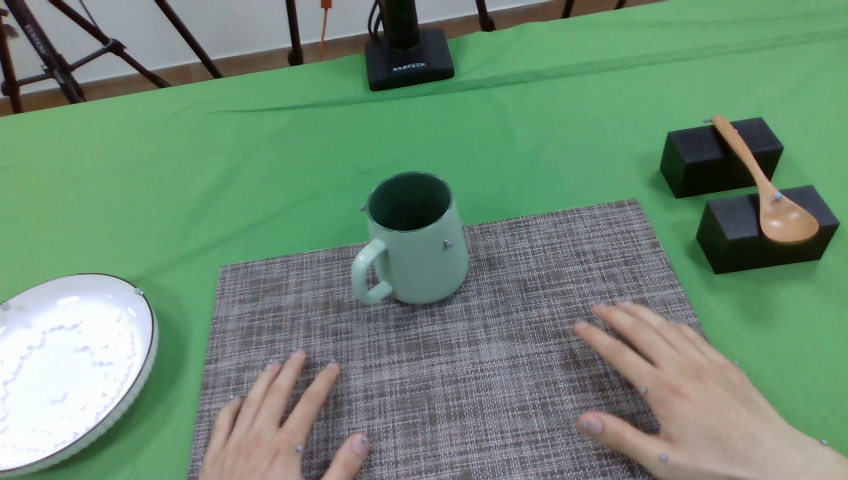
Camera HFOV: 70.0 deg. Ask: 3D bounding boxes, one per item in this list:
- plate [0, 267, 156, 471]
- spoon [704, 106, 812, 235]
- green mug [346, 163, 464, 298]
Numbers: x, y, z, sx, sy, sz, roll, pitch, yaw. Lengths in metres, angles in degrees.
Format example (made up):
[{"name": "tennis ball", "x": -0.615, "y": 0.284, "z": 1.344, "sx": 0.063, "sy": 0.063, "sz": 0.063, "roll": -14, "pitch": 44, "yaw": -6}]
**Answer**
[{"name": "plate", "x": -0.349, "y": 0.116, "z": 0.564, "sx": 0.209, "sy": 0.038, "sz": 0.207, "roll": -4, "pitch": 49, "yaw": 5}, {"name": "spoon", "x": 0.305, "y": -0.073, "z": 0.570, "sx": 0.041, "sy": 0.022, "sz": 0.191, "roll": -19, "pitch": 47, "yaw": 16}, {"name": "green mug", "x": -0.022, "y": 0.003, "z": 0.562, "sx": 0.092, "sy": 0.106, "sz": 0.125, "roll": 31, "pitch": 60, "yaw": 29}]
